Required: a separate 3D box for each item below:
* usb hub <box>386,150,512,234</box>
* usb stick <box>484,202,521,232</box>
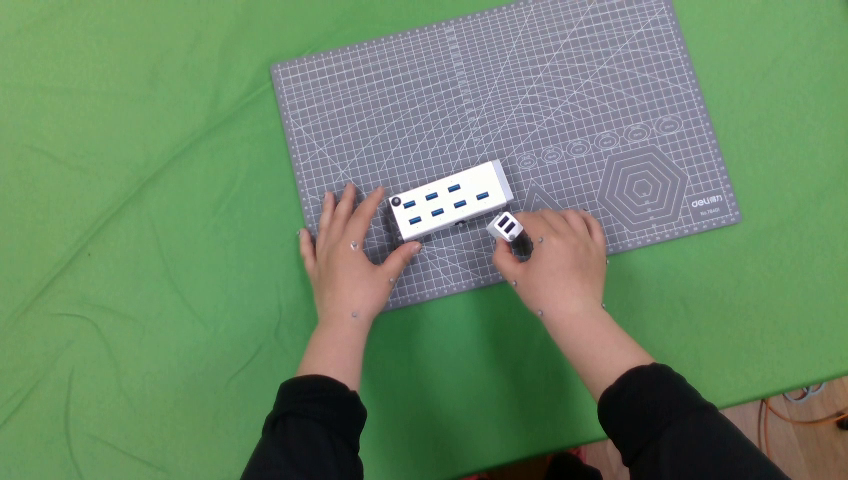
[{"bbox_3d":[0.026,-0.051,0.641,0.125,0.025,0.049,-20,82,0],"label":"usb hub"},{"bbox_3d":[0.078,-0.023,0.618,0.027,0.059,0.021,41,89,0],"label":"usb stick"}]
